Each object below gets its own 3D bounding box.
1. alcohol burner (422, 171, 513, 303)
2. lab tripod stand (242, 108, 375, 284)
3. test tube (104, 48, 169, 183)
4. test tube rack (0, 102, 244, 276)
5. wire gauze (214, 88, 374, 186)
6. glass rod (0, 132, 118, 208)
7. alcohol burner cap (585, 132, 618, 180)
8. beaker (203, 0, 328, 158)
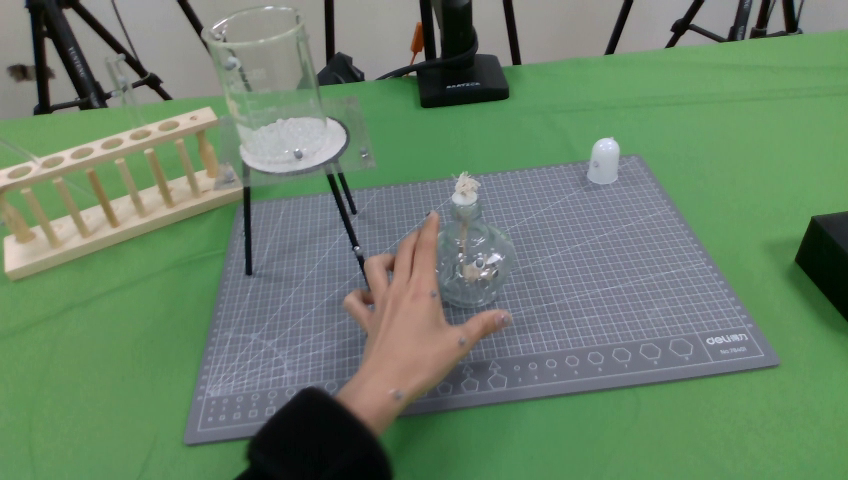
[{"bbox_3d":[0.036,-0.005,0.505,0.078,0.120,0.077,-3,39,3],"label":"alcohol burner"},{"bbox_3d":[-0.104,-0.037,0.542,0.148,0.133,0.147,-4,43,4],"label":"lab tripod stand"},{"bbox_3d":[-0.295,-0.123,0.628,0.017,0.151,0.017,-3,38,2],"label":"test tube"},{"bbox_3d":[-0.322,-0.058,0.632,0.243,0.086,0.066,-23,44,-19],"label":"test tube rack"},{"bbox_3d":[-0.109,-0.086,0.499,0.125,0.011,0.120,-13,39,-4],"label":"wire gauze"},{"bbox_3d":[-0.383,-0.084,0.584,0.008,0.202,0.008,-19,51,25],"label":"glass rod"},{"bbox_3d":[0.189,-0.091,0.640,0.034,0.048,0.033,-3,41,3],"label":"alcohol burner cap"},{"bbox_3d":[-0.119,-0.121,0.466,0.083,0.101,0.073,14,44,23],"label":"beaker"}]
